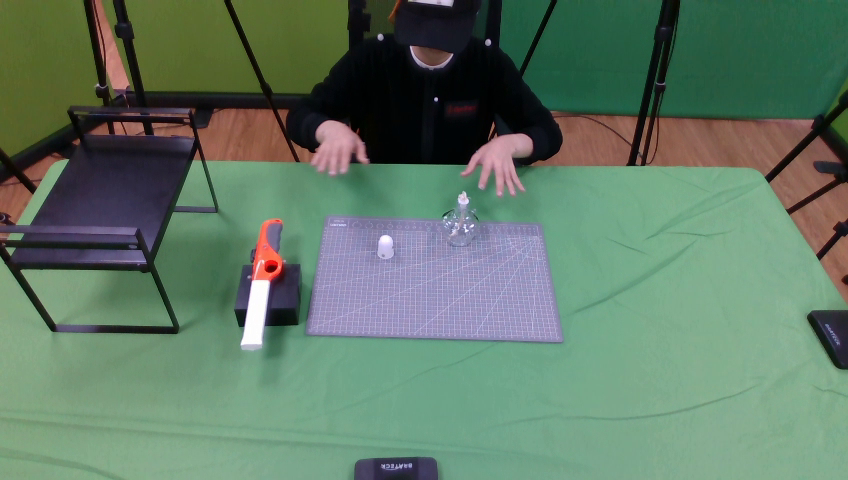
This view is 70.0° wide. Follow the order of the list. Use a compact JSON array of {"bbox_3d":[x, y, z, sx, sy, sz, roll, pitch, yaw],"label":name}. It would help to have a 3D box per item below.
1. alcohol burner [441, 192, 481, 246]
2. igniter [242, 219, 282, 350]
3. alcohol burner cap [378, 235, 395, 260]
[{"bbox_3d":[0.073,-0.046,1.176,0.078,0.119,0.077,2,44,-2],"label":"alcohol burner"},{"bbox_3d":[-0.277,0.065,1.044,0.057,0.025,0.274,1,48,-6],"label":"igniter"},{"bbox_3d":[-0.073,0.012,1.160,0.034,0.048,0.033,1,46,0],"label":"alcohol burner cap"}]
